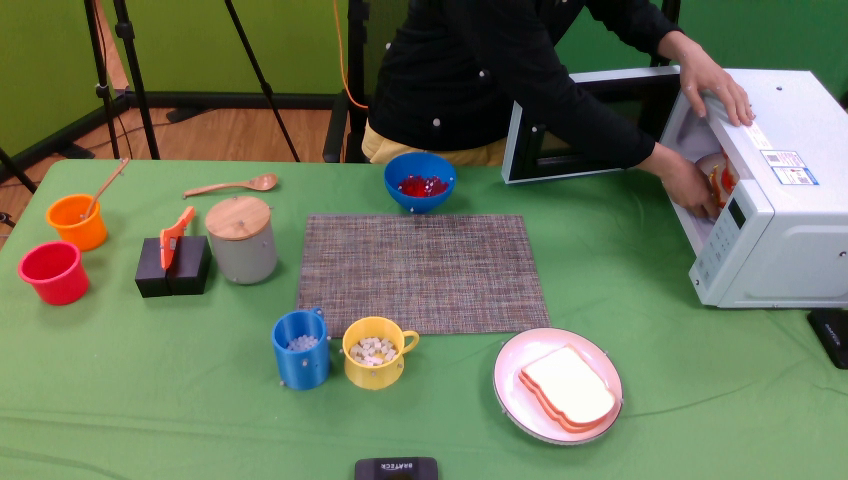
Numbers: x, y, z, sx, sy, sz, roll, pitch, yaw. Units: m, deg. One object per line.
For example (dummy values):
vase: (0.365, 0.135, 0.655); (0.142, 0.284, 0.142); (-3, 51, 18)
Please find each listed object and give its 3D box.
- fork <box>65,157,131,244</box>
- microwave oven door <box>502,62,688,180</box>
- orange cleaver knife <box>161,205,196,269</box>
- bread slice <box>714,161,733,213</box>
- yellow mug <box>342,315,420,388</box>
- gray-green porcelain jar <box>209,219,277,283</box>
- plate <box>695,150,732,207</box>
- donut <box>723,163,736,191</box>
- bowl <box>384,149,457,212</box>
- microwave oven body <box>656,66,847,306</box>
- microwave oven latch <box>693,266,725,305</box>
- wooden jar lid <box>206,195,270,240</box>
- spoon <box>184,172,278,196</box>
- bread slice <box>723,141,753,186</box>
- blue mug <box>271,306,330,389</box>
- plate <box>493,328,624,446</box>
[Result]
fork: (-0.609, -0.074, 1.133); (0.207, 0.019, 0.028); (-52, 51, 10)
microwave oven door: (0.353, -0.247, 1.276); (0.356, 0.245, 0.039); (-8, 48, -11)
orange cleaver knife: (-0.454, -0.010, 1.129); (0.012, 0.077, 0.210); (-2, 20, -5)
bread slice: (0.655, -0.109, 1.259); (0.105, 0.019, 0.131); (7, 61, 4)
yellow mug: (-0.067, 0.177, 0.990); (0.131, 0.064, 0.099); (-16, 50, -19)
gray-green porcelain jar: (-0.323, 0.007, 1.092); (0.106, 0.127, 0.105); (2, 46, -2)
plate: (0.661, -0.111, 1.245); (0.209, 0.038, 0.208); (3, 43, -2)
donut: (0.654, -0.126, 1.221); (0.099, 0.048, 0.098); (-1, 54, 1)
bowl: (-0.009, -0.112, 1.262); (0.151, 0.077, 0.150); (2, 46, -2)
microwave oven body: (0.669, -0.111, 1.176); (0.326, 0.261, 0.439); (0, 46, -3)
microwave oven latch: (0.523, 0.082, 1.115); (0.030, 0.029, 0.078); (3, 46, 0)
wooden jar lid: (-0.319, -0.036, 1.046); (0.108, 0.021, 0.107); (1, 44, 0)
spoon: (-0.406, -0.116, 1.275); (0.194, 0.022, 0.041); (-8, 65, -12)
bread slice: (0.659, -0.146, 1.200); (0.107, 0.018, 0.133); (1, 54, 8)
blue mug: (-0.188, 0.163, 0.969); (0.082, 0.106, 0.116); (15, 47, 10)
plate: (0.213, 0.236, 0.974); (0.208, 0.039, 0.206); (2, 46, -2)
